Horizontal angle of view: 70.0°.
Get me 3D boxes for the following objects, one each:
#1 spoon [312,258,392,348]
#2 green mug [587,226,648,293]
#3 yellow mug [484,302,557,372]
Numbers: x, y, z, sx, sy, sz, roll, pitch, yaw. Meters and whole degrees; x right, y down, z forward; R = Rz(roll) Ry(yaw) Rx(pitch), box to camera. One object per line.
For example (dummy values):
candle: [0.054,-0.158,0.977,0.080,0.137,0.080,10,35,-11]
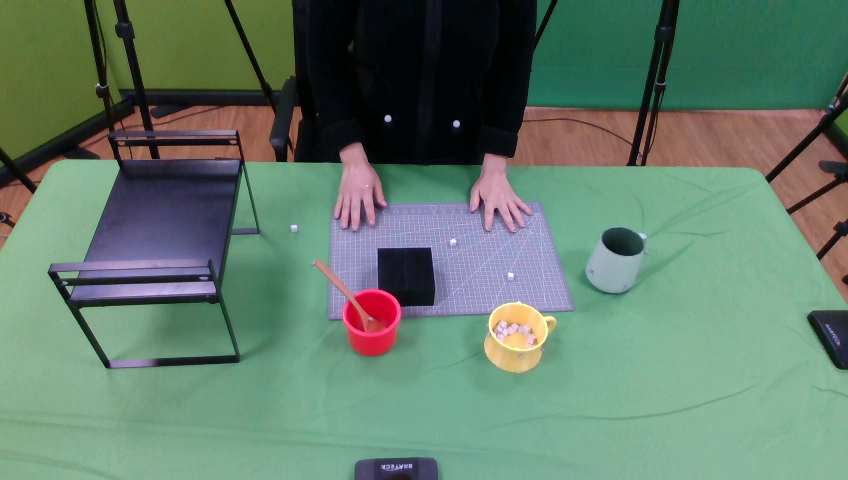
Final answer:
spoon: [-0.119,0.103,1.005,0.194,0.021,0.041,54,48,-14]
green mug: [0.371,0.030,1.136,0.125,0.105,0.092,-27,53,-27]
yellow mug: [0.169,0.159,1.026,0.131,0.064,0.099,-16,49,-19]
